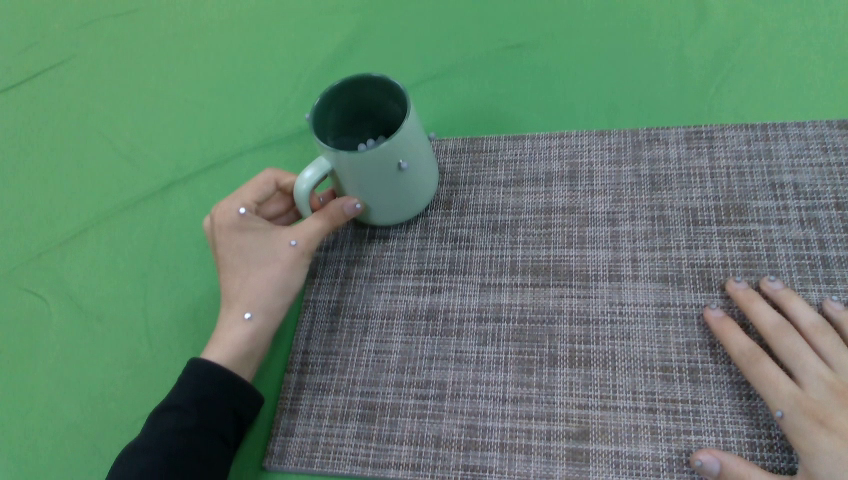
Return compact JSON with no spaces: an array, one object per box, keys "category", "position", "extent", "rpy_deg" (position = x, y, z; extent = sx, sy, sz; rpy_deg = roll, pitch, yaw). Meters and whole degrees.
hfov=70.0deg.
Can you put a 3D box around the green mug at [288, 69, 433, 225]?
[{"category":"green mug","position":[-0.055,-0.062,0.491],"extent":[0.125,0.106,0.092],"rpy_deg":[-44,63,-13]}]
